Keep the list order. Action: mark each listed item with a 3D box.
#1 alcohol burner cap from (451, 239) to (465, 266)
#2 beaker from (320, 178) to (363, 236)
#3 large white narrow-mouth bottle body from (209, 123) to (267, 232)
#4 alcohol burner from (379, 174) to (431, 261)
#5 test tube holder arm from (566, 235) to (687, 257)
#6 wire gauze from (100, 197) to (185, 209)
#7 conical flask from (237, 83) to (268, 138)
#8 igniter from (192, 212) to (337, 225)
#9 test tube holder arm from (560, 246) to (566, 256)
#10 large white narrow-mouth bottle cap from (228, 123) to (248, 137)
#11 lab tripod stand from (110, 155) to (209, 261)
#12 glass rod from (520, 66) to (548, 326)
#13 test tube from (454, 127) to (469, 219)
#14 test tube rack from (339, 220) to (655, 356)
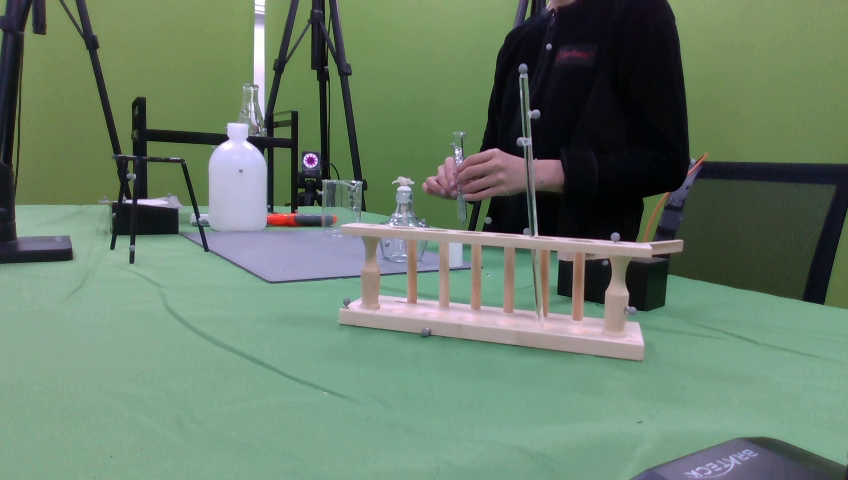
[{"bbox_3d":[0.041,0.010,0.815,0.034,0.048,0.034,4,7,0],"label":"alcohol burner cap"},{"bbox_3d":[-0.145,-0.059,1.078,0.074,0.100,0.083,-4,10,-36],"label":"beaker"},{"bbox_3d":[-0.340,-0.115,1.109,0.102,0.194,0.102,2,8,0],"label":"large white narrow-mouth bottle body"},{"bbox_3d":[-0.027,-0.031,0.838,0.078,0.119,0.078,0,6,0],"label":"alcohol burner"},{"bbox_3d":[0.215,0.006,0.630,0.179,0.015,0.013,-3,9,-31],"label":"test tube holder arm"},{"bbox_3d":[-0.469,-0.062,1.008,0.126,0.011,0.121,-2,8,-25],"label":"wire gauze"},{"bbox_3d":[-0.402,-0.299,1.406,0.075,0.122,0.075,2,7,0],"label":"conical flask"},{"bbox_3d":[-0.311,-0.043,1.203,0.278,0.025,0.057,-1,-5,-25],"label":"igniter"},{"bbox_3d":[0.173,0.007,0.611,0.088,0.015,0.010,-3,9,-30],"label":"test tube holder arm"},{"bbox_3d":[-0.338,-0.199,1.097,0.038,0.024,0.037,2,8,0],"label":"large white narrow-mouth bottle cap"},{"bbox_3d":[-0.361,-0.046,0.806,0.148,0.131,0.148,2,5,0],"label":"lab tripod stand"},{"bbox_3d":[0.084,-0.029,0.458,0.008,0.199,0.008,-6,11,2],"label":"glass rod"},{"bbox_3d":[0.061,-0.107,0.980,0.017,0.150,0.017,-4,16,1],"label":"test tube"},{"bbox_3d":[0.056,0.032,0.495,0.242,0.085,0.067,4,7,15],"label":"test tube rack"}]
